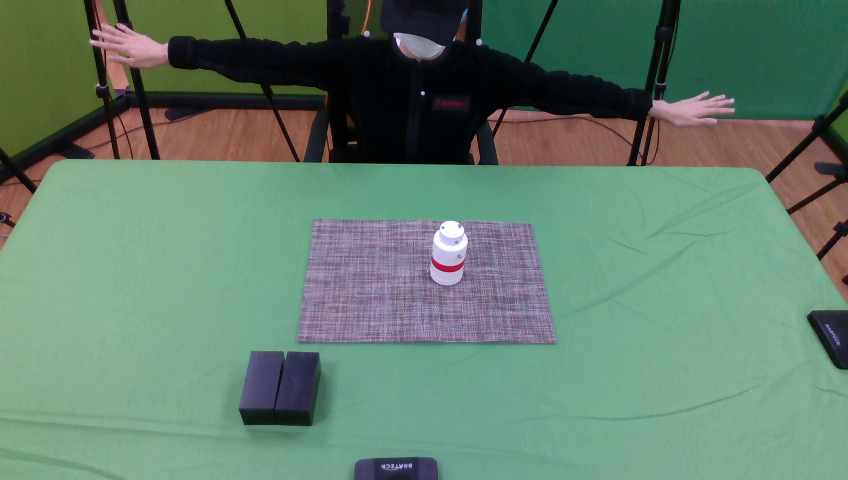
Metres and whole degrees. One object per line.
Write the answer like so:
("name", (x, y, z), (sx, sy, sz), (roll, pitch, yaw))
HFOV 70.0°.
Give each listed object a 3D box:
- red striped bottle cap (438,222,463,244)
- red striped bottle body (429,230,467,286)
("red striped bottle cap", (0.047, -0.013, 1.067), (0.044, 0.018, 0.044), (2, 43, -2))
("red striped bottle body", (0.044, 0.024, 1.105), (0.063, 0.120, 0.062), (3, 45, -3))
